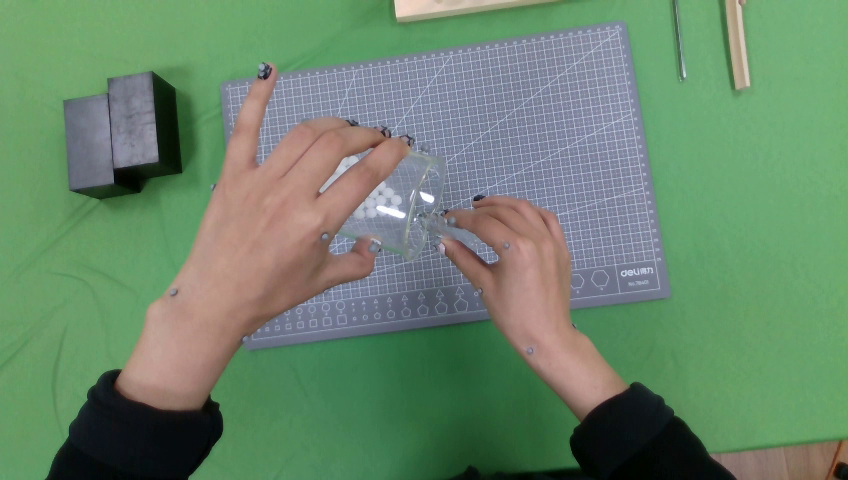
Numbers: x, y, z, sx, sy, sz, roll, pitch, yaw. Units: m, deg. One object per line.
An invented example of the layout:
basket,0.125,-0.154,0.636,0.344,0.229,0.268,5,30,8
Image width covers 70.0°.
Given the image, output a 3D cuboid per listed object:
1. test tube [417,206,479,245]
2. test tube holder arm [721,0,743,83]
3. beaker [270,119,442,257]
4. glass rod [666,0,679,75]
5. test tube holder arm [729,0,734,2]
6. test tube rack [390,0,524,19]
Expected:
test tube,0.024,-0.010,0.517,0.017,0.151,0.017,-2,83,18
test tube holder arm,0.321,-0.253,0.637,0.013,0.015,0.178,1,84,-25
beaker,-0.046,-0.037,0.417,0.100,0.084,0.074,18,82,11
glass rod,0.262,-0.274,0.651,0.008,0.008,0.199,-3,84,4
test tube holder arm,0.325,-0.298,0.644,0.010,0.015,0.087,2,84,-25
test tube rack,0.079,-0.297,0.629,0.242,0.085,0.066,-7,84,4
